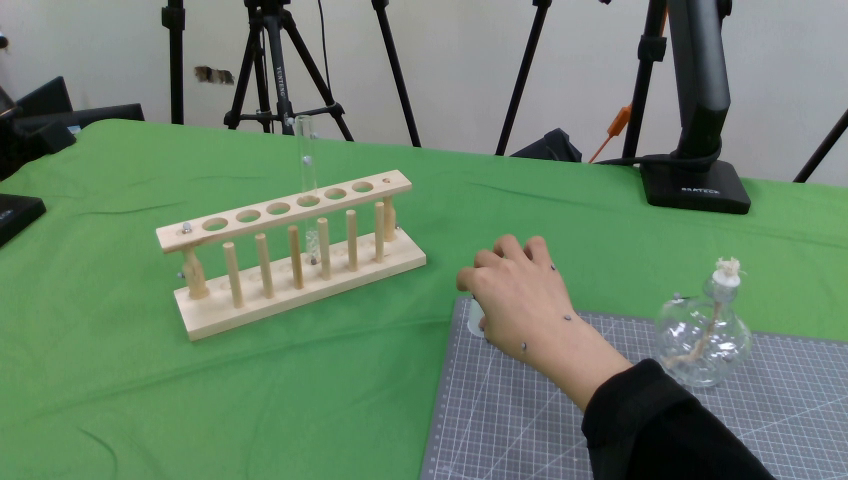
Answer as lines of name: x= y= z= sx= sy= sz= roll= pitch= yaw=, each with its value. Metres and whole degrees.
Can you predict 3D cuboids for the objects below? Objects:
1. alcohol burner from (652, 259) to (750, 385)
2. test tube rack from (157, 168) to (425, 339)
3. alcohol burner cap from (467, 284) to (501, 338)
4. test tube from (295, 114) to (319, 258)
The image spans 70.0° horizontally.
alcohol burner: x=0.233 y=0.062 z=0.500 sx=0.078 sy=0.120 sz=0.077 roll=1 pitch=38 yaw=-1
test tube rack: x=-0.120 y=0.007 z=0.595 sx=0.243 sy=0.086 sz=0.066 roll=-17 pitch=40 yaw=-24
alcohol burner cap: x=0.056 y=0.062 z=0.556 sx=0.034 sy=0.048 sz=0.033 roll=1 pitch=36 yaw=0
test tube: x=-0.112 y=-0.048 z=0.587 sx=0.017 sy=0.151 sz=0.017 roll=2 pitch=30 yaw=-1
